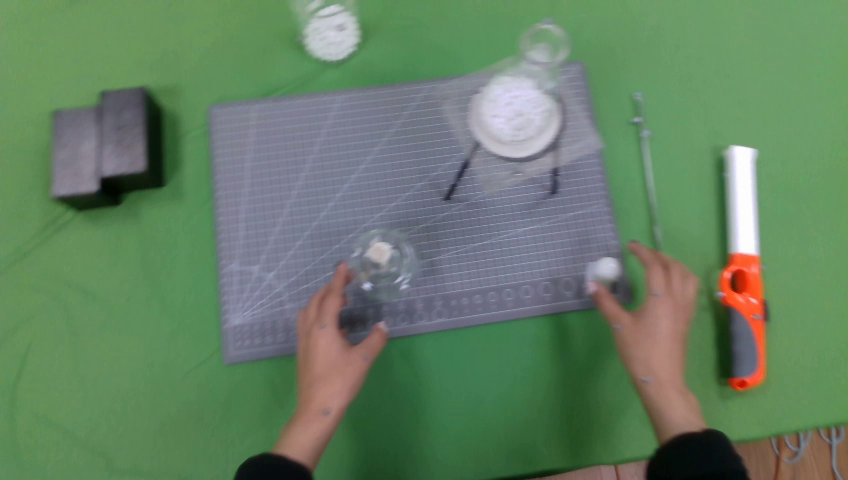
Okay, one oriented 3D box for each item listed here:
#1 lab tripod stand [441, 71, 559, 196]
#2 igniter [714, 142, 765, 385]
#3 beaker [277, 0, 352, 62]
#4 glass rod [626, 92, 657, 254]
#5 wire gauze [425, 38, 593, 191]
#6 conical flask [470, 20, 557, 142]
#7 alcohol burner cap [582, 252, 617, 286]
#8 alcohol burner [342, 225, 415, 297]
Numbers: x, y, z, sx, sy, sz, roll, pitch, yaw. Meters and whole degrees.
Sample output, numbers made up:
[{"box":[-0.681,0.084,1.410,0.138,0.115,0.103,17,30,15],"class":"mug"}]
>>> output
[{"box":[0.081,-0.104,0.642,0.148,0.132,0.147,0,79,-1],"class":"lab tripod stand"},{"box":[0.351,0.022,0.679,0.057,0.025,0.275,6,77,-11],"class":"igniter"},{"box":[-0.120,-0.259,0.691,0.074,0.100,0.084,40,79,7],"class":"beaker"},{"box":[0.253,-0.081,0.709,0.008,0.008,0.198,-4,77,-3],"class":"glass rod"},{"box":[0.082,-0.120,0.578,0.125,0.011,0.121,-24,82,-8],"class":"wire gauze"},{"box":[0.082,-0.139,0.522,0.075,0.122,0.075,0,79,-2],"class":"conical flask"},{"box":[0.195,0.029,0.662,0.034,0.048,0.033,0,76,-1],"class":"alcohol burner cap"},{"box":[-0.047,0.018,0.621,0.078,0.119,0.077,1,78,-3],"class":"alcohol burner"}]
